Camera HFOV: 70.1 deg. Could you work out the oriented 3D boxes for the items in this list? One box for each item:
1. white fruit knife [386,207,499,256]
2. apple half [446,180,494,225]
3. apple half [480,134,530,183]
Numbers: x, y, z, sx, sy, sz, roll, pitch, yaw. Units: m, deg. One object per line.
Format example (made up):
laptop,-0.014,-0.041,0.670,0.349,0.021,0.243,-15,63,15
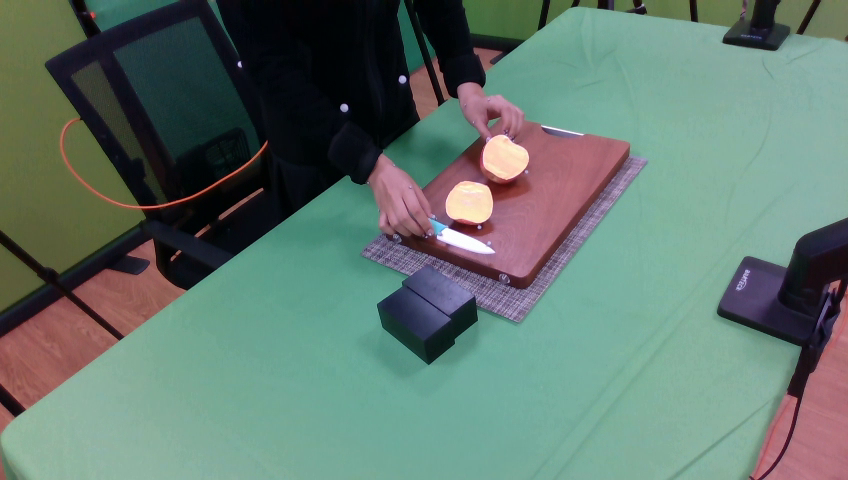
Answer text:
white fruit knife,0.026,-0.014,0.937,0.206,0.027,0.016,22,5,29
apple half,0.076,-0.056,0.976,0.081,0.033,0.081,-3,65,6
apple half,0.135,-0.135,1.043,0.081,0.053,0.074,31,73,2
